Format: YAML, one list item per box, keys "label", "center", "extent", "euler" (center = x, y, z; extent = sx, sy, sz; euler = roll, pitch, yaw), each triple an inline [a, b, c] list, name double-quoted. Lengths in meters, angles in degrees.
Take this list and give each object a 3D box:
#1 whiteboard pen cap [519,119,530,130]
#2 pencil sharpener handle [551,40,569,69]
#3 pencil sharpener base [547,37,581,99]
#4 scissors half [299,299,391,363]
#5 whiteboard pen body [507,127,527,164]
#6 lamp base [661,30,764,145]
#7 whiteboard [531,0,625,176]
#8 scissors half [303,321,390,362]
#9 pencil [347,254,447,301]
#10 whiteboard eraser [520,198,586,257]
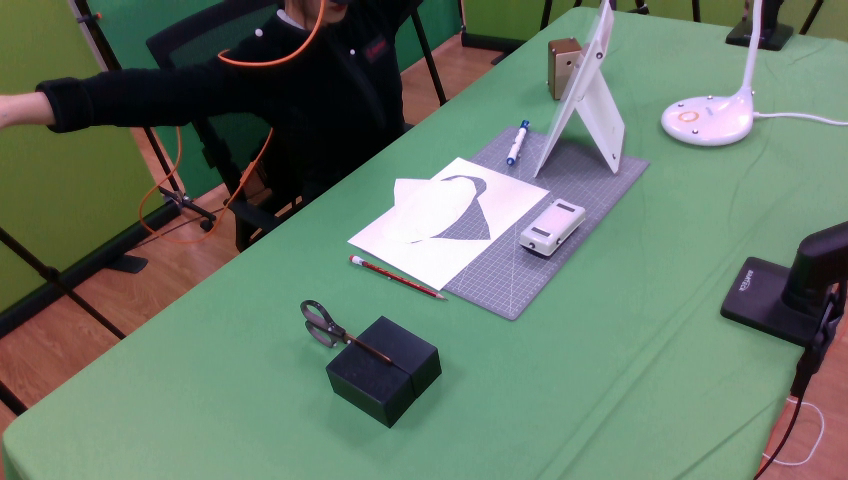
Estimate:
- label: "whiteboard pen cap"
  center: [0.199, -0.226, 1.204]
  extent: [0.018, 0.018, 0.033]
  euler: [7, 41, 18]
- label: "pencil sharpener handle"
  center: [0.291, -0.409, 1.320]
  extent: [0.036, 0.068, 0.030]
  euler: [2, 40, -6]
- label: "pencil sharpener base"
  center: [0.299, -0.368, 1.290]
  extent: [0.061, 0.107, 0.076]
  euler: [-8, 40, 2]
- label: "scissors half"
  center: [-0.107, 0.120, 0.794]
  extent: [0.174, 0.040, 0.013]
  euler: [26, 45, 33]
- label: "whiteboard pen body"
  center: [0.181, -0.189, 1.162]
  extent: [0.017, 0.017, 0.140]
  euler: [8, 42, 19]
- label: "lamp base"
  center: [0.535, -0.287, 1.096]
  extent: [0.179, 0.181, 0.159]
  euler: [-10, 40, -4]
- label: "whiteboard"
  center: [0.320, -0.258, 1.050]
  extent: [0.144, 0.306, 0.217]
  euler: [22, 45, 5]
- label: "scissors half"
  center: [-0.105, 0.138, 0.803]
  extent: [0.174, 0.040, 0.013]
  euler: [8, 28, 44]
- label: "pencil"
  center: [-0.044, 0.058, 0.932]
  extent: [0.192, 0.012, 0.012]
  euler: [22, 49, 29]
- label: "whiteboard eraser"
  center: [0.203, -0.019, 0.946]
  extent: [0.055, 0.042, 0.113]
  euler: [24, 50, 34]
